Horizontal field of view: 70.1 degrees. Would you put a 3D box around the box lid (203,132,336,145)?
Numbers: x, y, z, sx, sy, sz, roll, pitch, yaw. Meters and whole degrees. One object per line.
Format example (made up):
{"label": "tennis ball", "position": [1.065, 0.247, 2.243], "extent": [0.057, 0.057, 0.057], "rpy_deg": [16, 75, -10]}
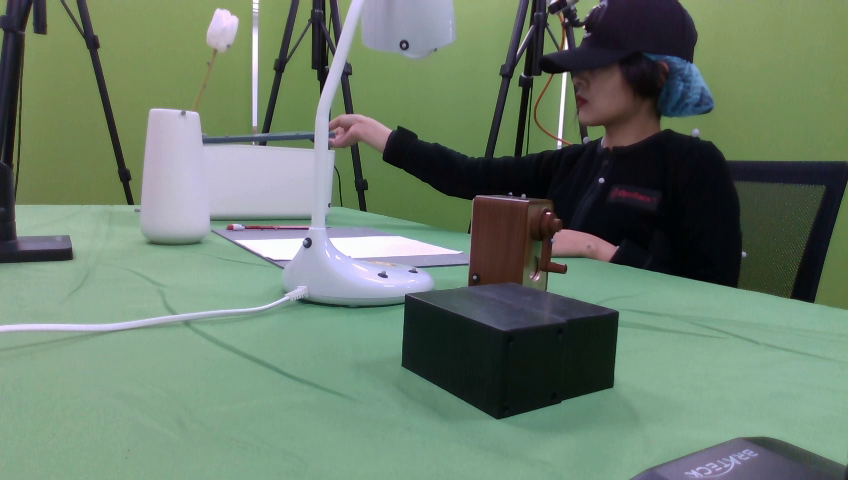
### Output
{"label": "box lid", "position": [-0.408, -0.227, 1.367], "extent": [0.373, 0.015, 0.262], "rpy_deg": [-10, 13, -29]}

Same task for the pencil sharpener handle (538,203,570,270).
{"label": "pencil sharpener handle", "position": [0.137, -0.003, 0.619], "extent": [0.030, 0.067, 0.036], "rpy_deg": [8, 5, 38]}

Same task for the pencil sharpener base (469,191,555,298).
{"label": "pencil sharpener base", "position": [0.097, 0.003, 0.652], "extent": [0.076, 0.107, 0.061], "rpy_deg": [8, 9, 38]}

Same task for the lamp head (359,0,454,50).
{"label": "lamp head", "position": [-0.024, -0.283, 0.674], "extent": [0.112, 0.123, 0.112], "rpy_deg": [-3, 38, 3]}

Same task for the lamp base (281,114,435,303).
{"label": "lamp base", "position": [-0.071, -0.035, 0.614], "extent": [0.160, 0.180, 0.180], "rpy_deg": [6, 10, 27]}

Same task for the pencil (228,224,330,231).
{"label": "pencil", "position": [-0.265, -0.023, 1.124], "extent": [0.195, 0.012, 0.012], "rpy_deg": [-1, 8, -32]}

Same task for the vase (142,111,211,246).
{"label": "vase", "position": [-0.378, -0.093, 0.920], "extent": [0.098, 0.200, 0.098], "rpy_deg": [2, 9, 0]}

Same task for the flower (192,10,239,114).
{"label": "flower", "position": [-0.354, -0.174, 0.915], "extent": [0.038, 0.361, 0.044], "rpy_deg": [18, -4, 12]}

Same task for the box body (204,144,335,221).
{"label": "box body", "position": [-0.413, -0.134, 1.379], "extent": [0.366, 0.160, 0.253], "rpy_deg": [-2, 9, -31]}
